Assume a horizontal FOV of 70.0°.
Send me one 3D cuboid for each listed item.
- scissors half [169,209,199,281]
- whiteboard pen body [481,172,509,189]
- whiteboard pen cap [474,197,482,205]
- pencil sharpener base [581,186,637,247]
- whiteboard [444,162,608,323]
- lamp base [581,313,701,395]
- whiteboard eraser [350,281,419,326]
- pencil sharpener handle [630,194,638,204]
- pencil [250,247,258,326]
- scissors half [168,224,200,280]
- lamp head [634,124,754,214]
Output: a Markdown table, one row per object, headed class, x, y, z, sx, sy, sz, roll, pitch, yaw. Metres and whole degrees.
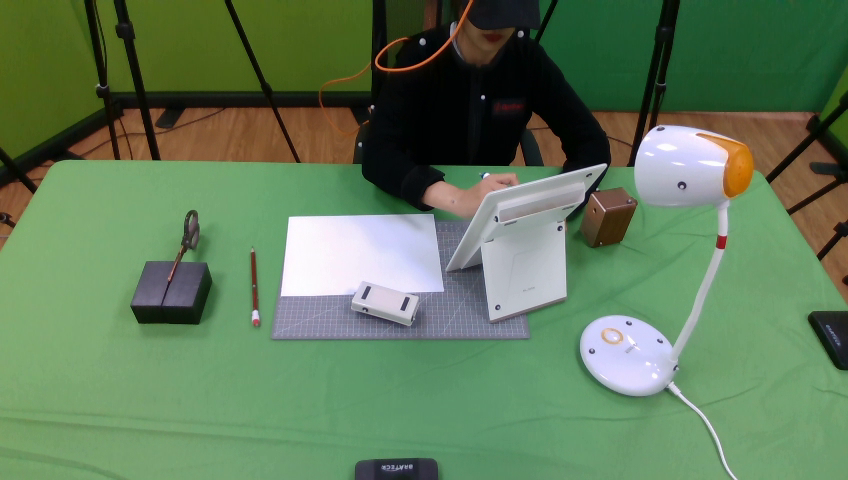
| class | x | y | z | sx | sy | sz | roll | pitch | yaw |
| --- | --- | --- | --- | --- | --- | --- | --- | --- | --- |
| scissors half | -0.438 | 0.007 | 1.098 | 0.013 | 0.040 | 0.174 | 3 | 48 | -3 |
| whiteboard pen body | 0.159 | -0.088 | 1.107 | 0.017 | 0.017 | 0.140 | -33 | 54 | -30 |
| whiteboard pen cap | 0.123 | -0.079 | 1.287 | 0.033 | 0.018 | 0.018 | 27 | 50 | 22 |
| pencil sharpener base | 0.369 | -0.047 | 1.209 | 0.077 | 0.107 | 0.061 | -11 | 47 | -14 |
| whiteboard | 0.186 | 0.025 | 1.029 | 0.217 | 0.306 | 0.143 | -14 | 68 | -17 |
| lamp base | 0.361 | 0.144 | 0.973 | 0.178 | 0.181 | 0.160 | 34 | 53 | 23 |
| whiteboard eraser | -0.069 | 0.113 | 1.065 | 0.112 | 0.042 | 0.055 | 14 | 46 | 9 |
| pencil sharpener handle | 0.417 | -0.068 | 1.215 | 0.031 | 0.068 | 0.036 | -11 | 60 | -14 |
| pencil | -0.312 | 0.079 | 1.107 | 0.012 | 0.012 | 0.192 | -7 | 46 | -11 |
| scissors half | -0.440 | 0.023 | 1.111 | 0.013 | 0.040 | 0.174 | 7 | 29 | -6 |
| lamp head | 0.351 | -0.089 | 0.776 | 0.112 | 0.113 | 0.122 | -30 | 30 | -28 |
